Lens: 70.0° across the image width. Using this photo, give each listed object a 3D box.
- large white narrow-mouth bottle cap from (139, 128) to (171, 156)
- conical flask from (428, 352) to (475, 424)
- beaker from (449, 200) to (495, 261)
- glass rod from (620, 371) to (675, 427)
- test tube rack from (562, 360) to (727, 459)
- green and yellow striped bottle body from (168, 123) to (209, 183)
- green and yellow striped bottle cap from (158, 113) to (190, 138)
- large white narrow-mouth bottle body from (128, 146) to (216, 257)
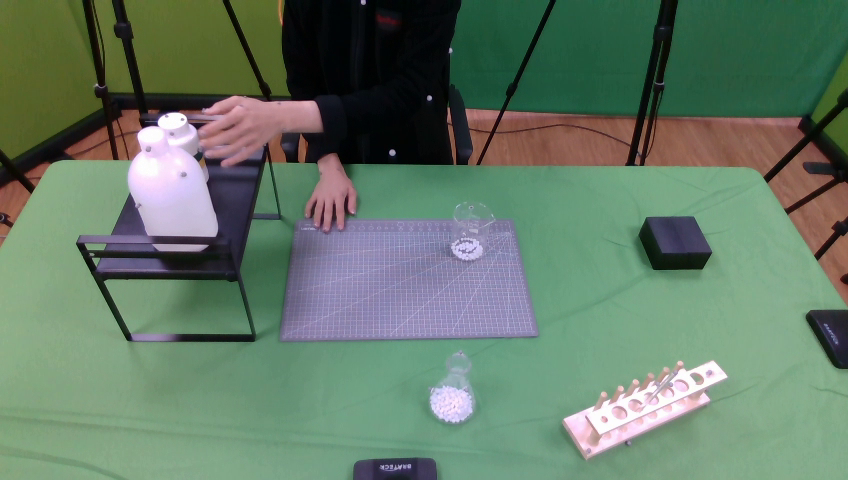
[{"bbox_3d":[-0.358,-0.131,0.807,0.038,0.024,0.037,3,47,-3],"label":"large white narrow-mouth bottle cap"},{"bbox_3d":[0.046,0.220,0.920,0.075,0.122,0.075,2,46,-2],"label":"conical flask"},{"bbox_3d":[0.089,-0.014,1.161,0.084,0.101,0.073,9,47,3],"label":"beaker"},{"bbox_3d":[0.316,0.230,0.863,0.008,0.200,0.008,3,54,-3],"label":"glass rod"},{"bbox_3d":[0.341,0.247,0.940,0.243,0.085,0.066,-16,49,-18],"label":"test tube rack"},{"bbox_3d":[-0.395,-0.145,0.989,0.063,0.120,0.063,2,46,-2],"label":"green and yellow striped bottle body"},{"bbox_3d":[-0.393,-0.179,0.951,0.045,0.020,0.045,3,44,-2],"label":"green and yellow striped bottle cap"},{"bbox_3d":[-0.366,-0.072,0.872,0.102,0.195,0.101,3,47,-3],"label":"large white narrow-mouth bottle body"}]
